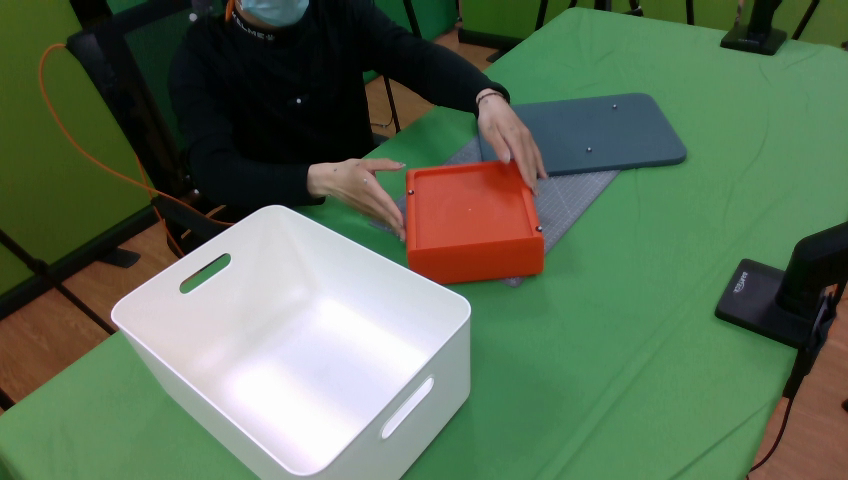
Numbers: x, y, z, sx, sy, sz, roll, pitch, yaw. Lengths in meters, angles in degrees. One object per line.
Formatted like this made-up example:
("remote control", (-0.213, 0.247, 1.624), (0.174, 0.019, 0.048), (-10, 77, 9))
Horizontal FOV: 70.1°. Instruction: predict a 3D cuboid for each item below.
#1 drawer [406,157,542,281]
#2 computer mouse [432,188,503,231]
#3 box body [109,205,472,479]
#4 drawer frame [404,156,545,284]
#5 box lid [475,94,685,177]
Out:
("drawer", (0.072, -0.037, 0.957), (0.194, 0.073, 0.210), (-5, 41, 1))
("computer mouse", (0.071, -0.051, 0.994), (0.117, 0.041, 0.062), (-10, 44, 6))
("box body", (-0.147, 0.135, 0.726), (0.361, 0.161, 0.255), (25, 50, 32))
("drawer frame", (0.073, -0.036, 0.953), (0.202, 0.083, 0.212), (-6, 41, 1))
("box lid", (0.288, -0.207, 1.181), (0.371, 0.015, 0.262), (-5, 40, 2))
